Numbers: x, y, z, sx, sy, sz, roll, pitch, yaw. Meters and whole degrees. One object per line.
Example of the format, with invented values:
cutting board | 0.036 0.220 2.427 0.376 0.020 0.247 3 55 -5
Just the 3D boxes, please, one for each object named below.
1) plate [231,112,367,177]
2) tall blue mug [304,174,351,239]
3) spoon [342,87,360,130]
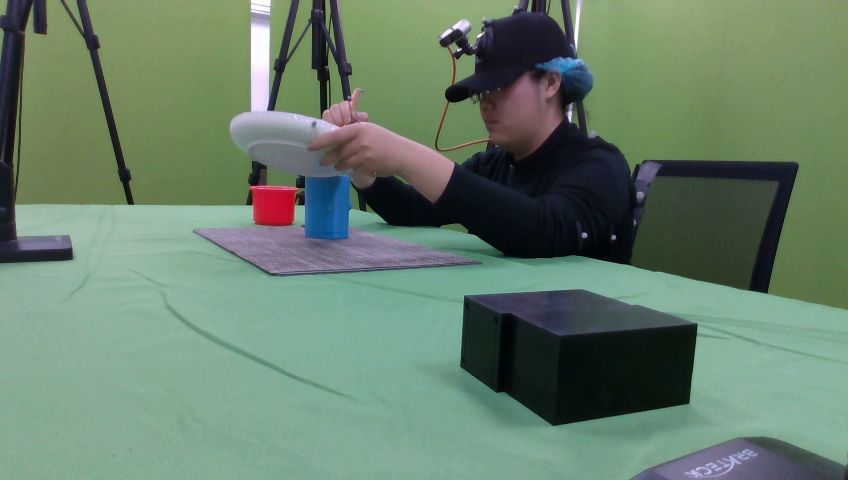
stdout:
plate | -0.195 -0.139 0.941 0.208 0.039 0.208 7 -12 2
tall blue mug | -0.178 -0.062 1.062 0.078 0.108 0.106 -5 10 -38
spoon | -0.142 -0.205 1.078 0.041 0.022 0.193 0 51 17
